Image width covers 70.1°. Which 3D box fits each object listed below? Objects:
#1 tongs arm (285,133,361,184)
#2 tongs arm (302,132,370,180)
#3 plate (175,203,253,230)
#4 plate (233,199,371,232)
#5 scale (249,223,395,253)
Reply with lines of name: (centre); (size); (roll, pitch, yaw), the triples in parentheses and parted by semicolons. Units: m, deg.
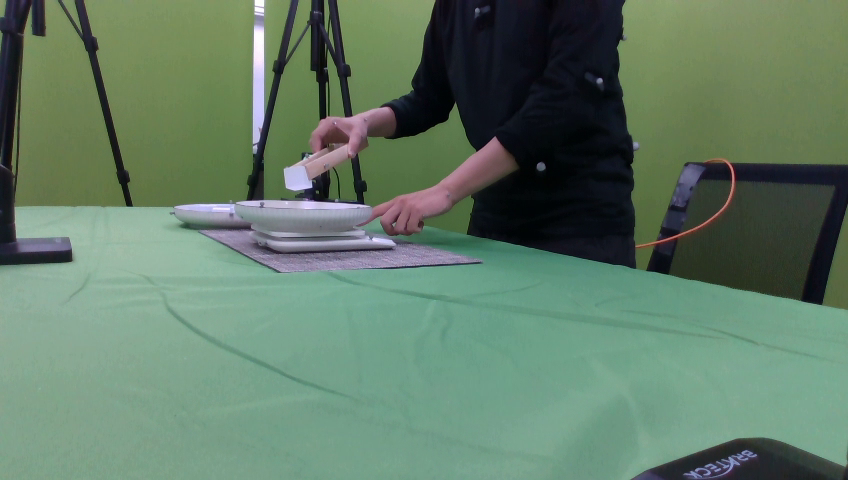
tongs arm: (-0.176, -0.160, 1.132); (0.051, 0.026, 0.384); (-13, 15, 9)
tongs arm: (-0.155, -0.164, 1.127); (0.028, 0.028, 0.388); (-15, 14, 14)
plate: (-0.381, -0.047, 1.199); (0.208, 0.039, 0.207); (3, 7, 0)
plate: (-0.188, -0.039, 0.939); (0.209, 0.038, 0.209); (3, 7, 0)
scale: (-0.161, -0.006, 0.954); (0.202, 0.031, 0.148); (-1, 8, -31)
